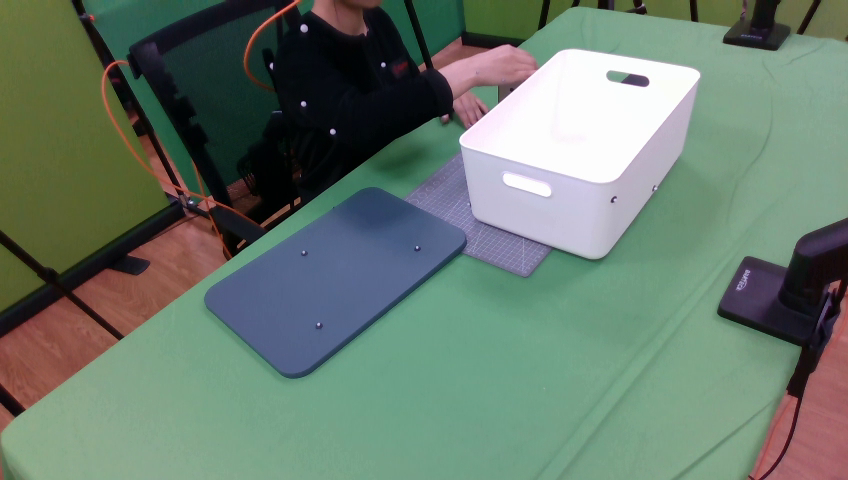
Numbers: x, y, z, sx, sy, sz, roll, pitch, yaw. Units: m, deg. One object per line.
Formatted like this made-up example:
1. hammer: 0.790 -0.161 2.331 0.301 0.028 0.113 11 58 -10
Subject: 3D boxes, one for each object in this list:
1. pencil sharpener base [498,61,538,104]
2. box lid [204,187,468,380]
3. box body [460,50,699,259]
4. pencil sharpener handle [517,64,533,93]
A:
1. pencil sharpener base: 0.191 -0.296 1.221 0.061 0.107 0.077 15 47 22
2. box lid: -0.135 0.044 0.963 0.261 0.015 0.373 29 53 36
3. box body: 0.261 -0.153 1.001 0.252 0.161 0.365 21 48 31
4. pencil sharpener handle: 0.213 -0.337 1.244 0.036 0.068 0.030 13 47 24
